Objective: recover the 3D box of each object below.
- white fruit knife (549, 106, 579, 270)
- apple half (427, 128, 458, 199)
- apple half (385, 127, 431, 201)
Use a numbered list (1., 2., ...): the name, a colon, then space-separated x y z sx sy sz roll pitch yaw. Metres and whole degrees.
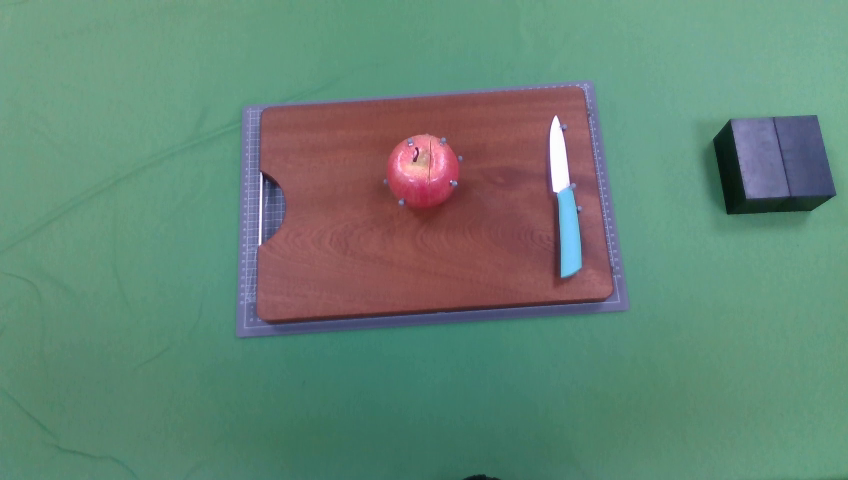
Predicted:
1. white fruit knife: 0.160 -0.065 0.698 0.027 0.016 0.206 2 72 -11
2. apple half: 0.022 -0.084 0.677 0.033 0.082 0.081 1 73 5
3. apple half: -0.017 -0.084 0.680 0.053 0.075 0.080 0 77 7
